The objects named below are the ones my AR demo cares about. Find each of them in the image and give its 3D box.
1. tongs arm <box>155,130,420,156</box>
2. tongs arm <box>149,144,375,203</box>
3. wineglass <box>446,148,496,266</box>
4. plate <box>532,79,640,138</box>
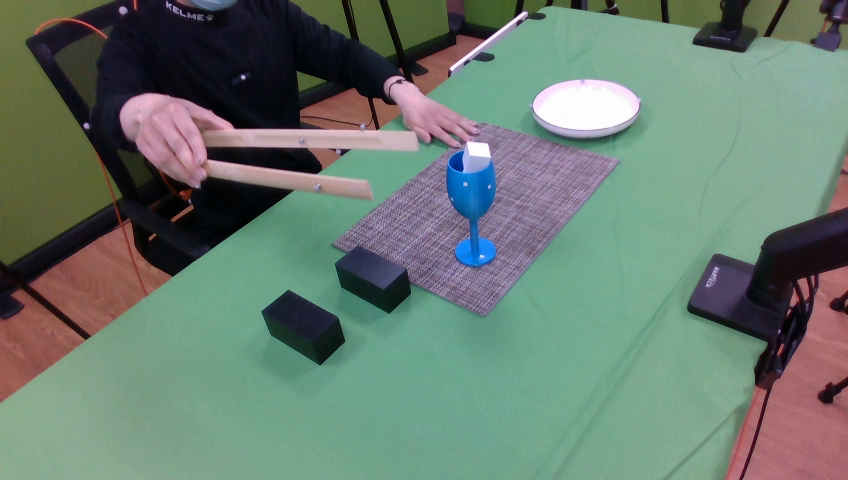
[{"bbox_3d":[-0.189,-0.120,0.781,0.382,0.026,0.051,6,42,24],"label":"tongs arm"},{"bbox_3d":[-0.216,-0.083,0.738,0.385,0.028,0.028,11,48,30],"label":"tongs arm"},{"bbox_3d":[0.072,-0.045,0.889,0.074,0.173,0.073,-4,41,4],"label":"wineglass"},{"bbox_3d":[0.322,-0.259,1.212,0.209,0.038,0.208,-4,40,4],"label":"plate"}]
